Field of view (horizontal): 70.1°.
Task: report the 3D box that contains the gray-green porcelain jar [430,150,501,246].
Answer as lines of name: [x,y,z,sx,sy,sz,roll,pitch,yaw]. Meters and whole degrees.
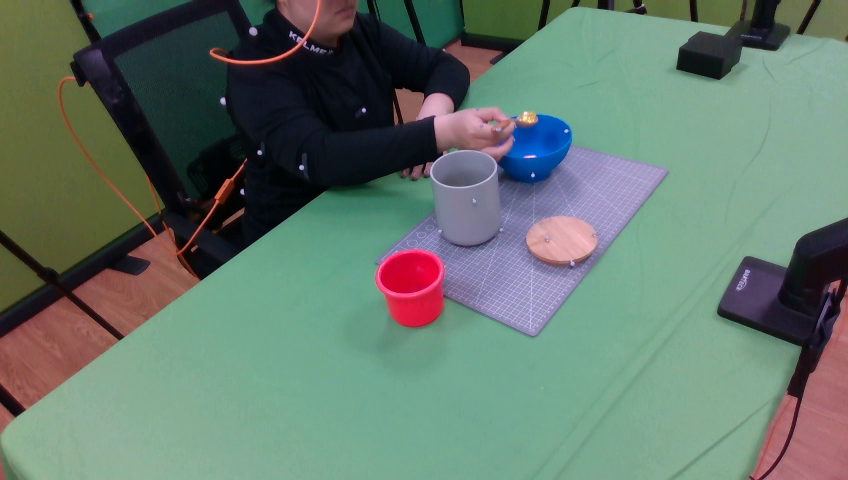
gray-green porcelain jar: [0.069,-0.062,0.959,0.106,0.127,0.105,-5,40,5]

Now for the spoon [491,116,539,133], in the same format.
spoon: [0.147,-0.192,0.998,0.041,0.021,0.194,11,17,25]

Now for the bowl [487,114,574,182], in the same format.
bowl: [0.190,-0.156,1.085,0.151,0.077,0.150,-5,40,5]

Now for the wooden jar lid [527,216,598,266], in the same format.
wooden jar lid: [0.214,0.003,0.937,0.108,0.021,0.108,-4,40,4]
